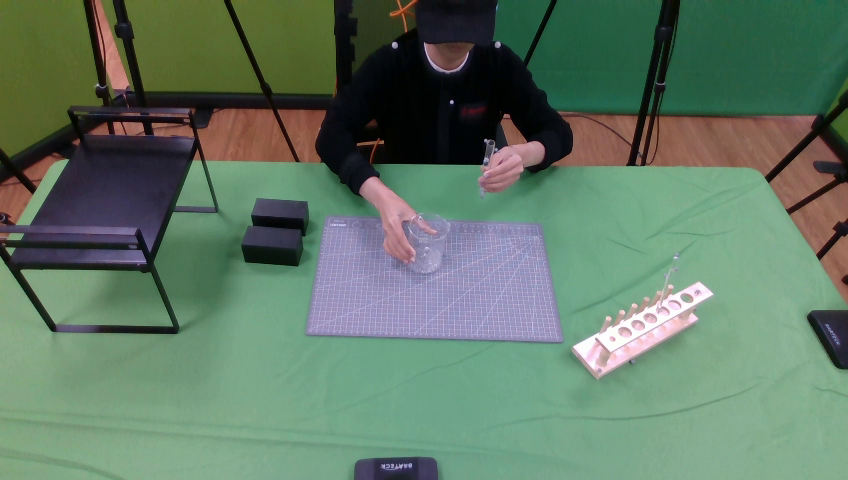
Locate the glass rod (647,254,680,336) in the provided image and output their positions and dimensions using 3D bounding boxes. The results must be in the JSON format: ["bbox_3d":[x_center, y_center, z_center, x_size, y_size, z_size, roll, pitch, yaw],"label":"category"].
[{"bbox_3d":[0.390,0.094,0.991,0.008,0.201,0.008,-1,44,2],"label":"glass rod"}]

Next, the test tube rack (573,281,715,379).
[{"bbox_3d":[0.378,0.140,1.038,0.242,0.085,0.066,-22,51,-22],"label":"test tube rack"}]

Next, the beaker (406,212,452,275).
[{"bbox_3d":[0.007,0.008,1.128,0.084,0.101,0.073,-9,48,-15],"label":"beaker"}]

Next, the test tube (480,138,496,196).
[{"bbox_3d":[0.119,-0.133,1.139,0.017,0.151,0.017,1,54,-1],"label":"test tube"}]
